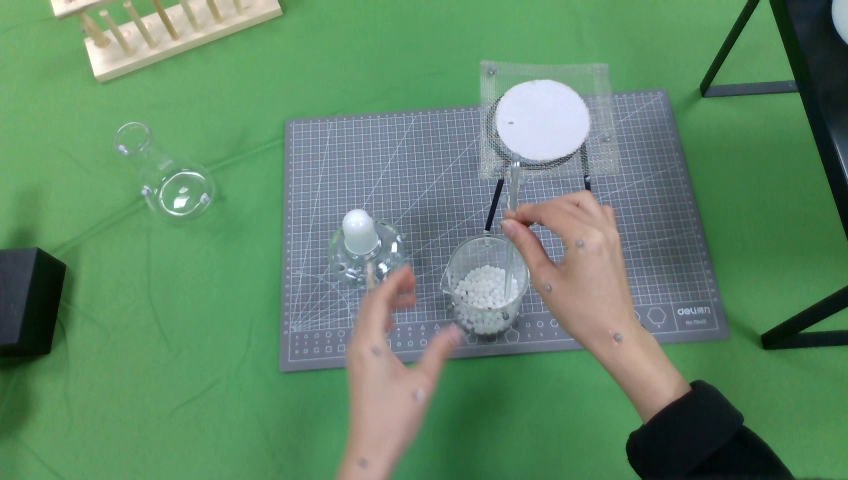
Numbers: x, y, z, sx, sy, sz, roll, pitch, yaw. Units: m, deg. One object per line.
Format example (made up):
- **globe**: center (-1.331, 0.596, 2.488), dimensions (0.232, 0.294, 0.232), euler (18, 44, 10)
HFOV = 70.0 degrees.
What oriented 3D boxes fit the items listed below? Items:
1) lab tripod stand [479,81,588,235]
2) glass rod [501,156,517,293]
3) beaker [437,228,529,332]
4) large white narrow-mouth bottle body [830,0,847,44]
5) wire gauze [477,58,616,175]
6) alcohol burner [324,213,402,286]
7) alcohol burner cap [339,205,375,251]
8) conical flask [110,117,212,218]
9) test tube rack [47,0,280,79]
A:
- **lab tripod stand**: center (0.104, -0.084, 0.610), dimensions (0.148, 0.132, 0.147), euler (0, 66, 1)
- **glass rod**: center (0.068, -0.003, 0.489), dimensions (0.008, 0.201, 0.008), euler (-2, 59, 4)
- **beaker**: center (0.055, 0.044, 0.579), dimensions (0.084, 0.101, 0.073), euler (-16, 67, -3)
- **large white narrow-mouth bottle body**: center (0.391, -0.225, 0.431), dimensions (0.102, 0.196, 0.101), euler (-1, 66, 2)
- **wire gauze**: center (0.109, -0.115, 0.549), dimensions (0.121, 0.011, 0.124), euler (1, 69, 1)
- **alcohol burner**: center (-0.062, 0.002, 0.593), dimensions (0.078, 0.120, 0.077), euler (0, 66, 1)
- **alcohol burner cap**: center (-0.064, -0.014, 0.560), dimensions (0.034, 0.048, 0.033), euler (0, 61, 0)
- **conical flask**: center (-0.278, -0.079, 0.632), dimensions (0.075, 0.123, 0.075), euler (-1, 68, 2)
- **test tube rack**: center (-0.310, -0.290, 0.737), dimensions (0.242, 0.086, 0.066), euler (-23, 69, -7)
